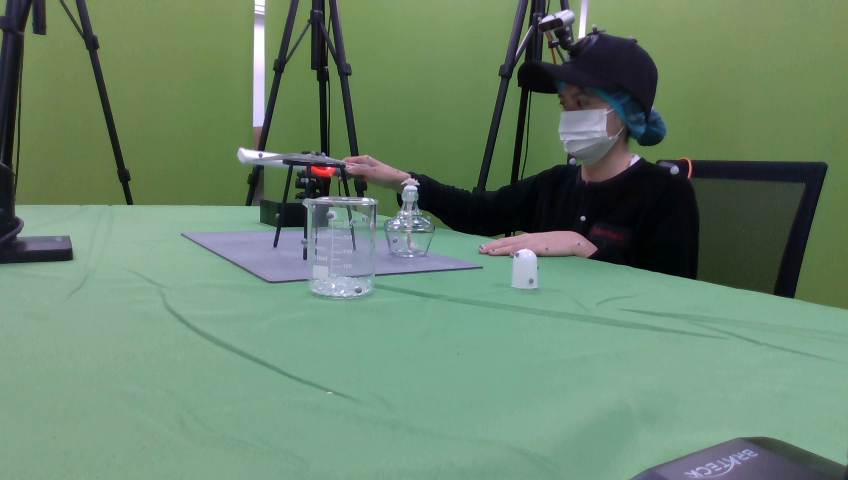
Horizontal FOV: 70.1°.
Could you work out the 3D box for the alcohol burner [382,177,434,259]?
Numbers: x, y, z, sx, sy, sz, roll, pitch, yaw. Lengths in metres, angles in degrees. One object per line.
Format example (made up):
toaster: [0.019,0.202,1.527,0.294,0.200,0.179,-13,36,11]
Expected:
alcohol burner: [-0.023,-0.033,0.891,0.078,0.119,0.078,1,6,0]

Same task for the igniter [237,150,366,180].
igniter: [-0.235,-0.149,1.210,0.278,0.025,0.057,3,35,-41]

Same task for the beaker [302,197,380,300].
beaker: [-0.089,0.007,0.625,0.084,0.100,0.074,4,7,16]

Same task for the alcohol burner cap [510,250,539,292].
alcohol burner cap: [0.118,0.036,0.704,0.034,0.048,0.034,0,6,0]

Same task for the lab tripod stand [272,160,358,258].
lab tripod stand: [-0.159,-0.048,0.876,0.148,0.131,0.148,3,5,0]

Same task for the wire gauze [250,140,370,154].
wire gauze: [-0.163,-0.131,0.867,0.124,0.011,0.122,-1,8,32]
